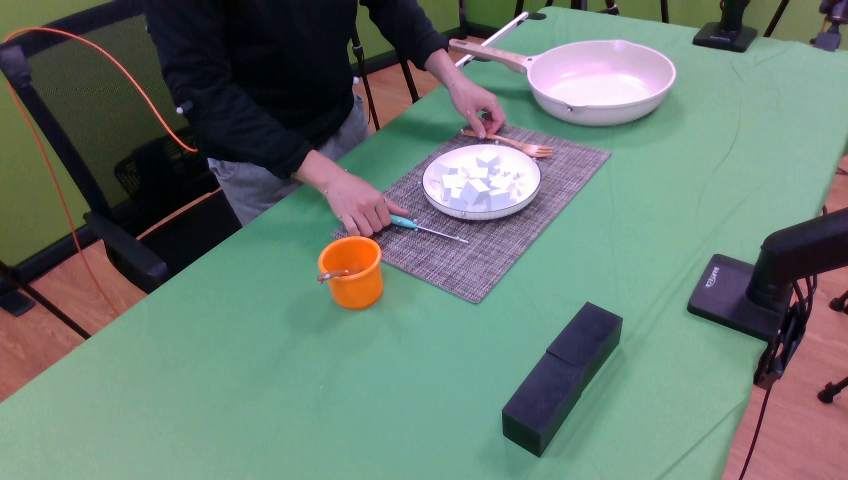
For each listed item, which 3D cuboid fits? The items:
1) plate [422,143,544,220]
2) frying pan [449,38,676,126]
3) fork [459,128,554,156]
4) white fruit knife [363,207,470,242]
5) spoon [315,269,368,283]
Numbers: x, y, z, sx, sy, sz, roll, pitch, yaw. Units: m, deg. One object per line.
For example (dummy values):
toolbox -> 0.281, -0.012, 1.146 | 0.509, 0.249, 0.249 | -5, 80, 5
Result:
plate -> 0.102, -0.097, 1.048 | 0.207, 0.039, 0.206 | -4, 40, 4
frying pan -> 0.272, -0.362, 1.287 | 0.485, 0.103, 0.307 | 23, 48, 19
fork -> 0.154, -0.192, 1.164 | 0.206, 0.019, 0.028 | 21, 70, 28
white fruit knife -> -0.017, -0.025, 0.994 | 0.206, 0.027, 0.016 | 16, 90, 25
spoon -> -0.116, 0.049, 0.831 | 0.041, 0.194, 0.021 | -4, 85, 9
